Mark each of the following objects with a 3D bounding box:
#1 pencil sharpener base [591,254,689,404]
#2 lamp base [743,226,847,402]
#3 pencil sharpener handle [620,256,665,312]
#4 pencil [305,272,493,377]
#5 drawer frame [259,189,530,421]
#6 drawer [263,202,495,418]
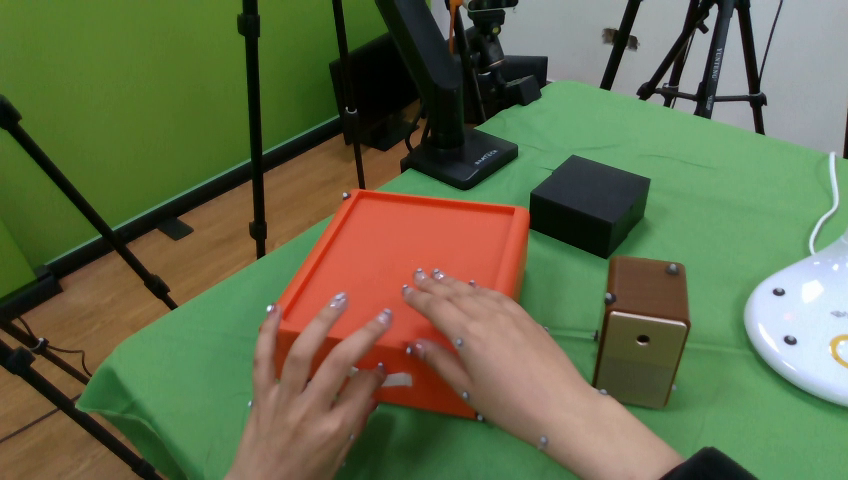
[{"bbox_3d":[0.178,0.074,0.508,0.061,0.108,0.076,7,40,14],"label":"pencil sharpener base"},{"bbox_3d":[0.373,0.015,0.507,0.160,0.182,0.178,5,37,11],"label":"lamp base"},{"bbox_3d":[0.190,0.033,0.539,0.036,0.068,0.030,12,41,10],"label":"pencil sharpener handle"},{"bbox_3d":[-0.020,0.074,0.554,0.194,0.012,0.012,-27,43,-10],"label":"pencil"},{"bbox_3d":[-0.014,0.047,0.576,0.201,0.083,0.212,6,39,13],"label":"drawer frame"},{"bbox_3d":[-0.013,0.052,0.577,0.194,0.074,0.210,6,37,14],"label":"drawer"}]
